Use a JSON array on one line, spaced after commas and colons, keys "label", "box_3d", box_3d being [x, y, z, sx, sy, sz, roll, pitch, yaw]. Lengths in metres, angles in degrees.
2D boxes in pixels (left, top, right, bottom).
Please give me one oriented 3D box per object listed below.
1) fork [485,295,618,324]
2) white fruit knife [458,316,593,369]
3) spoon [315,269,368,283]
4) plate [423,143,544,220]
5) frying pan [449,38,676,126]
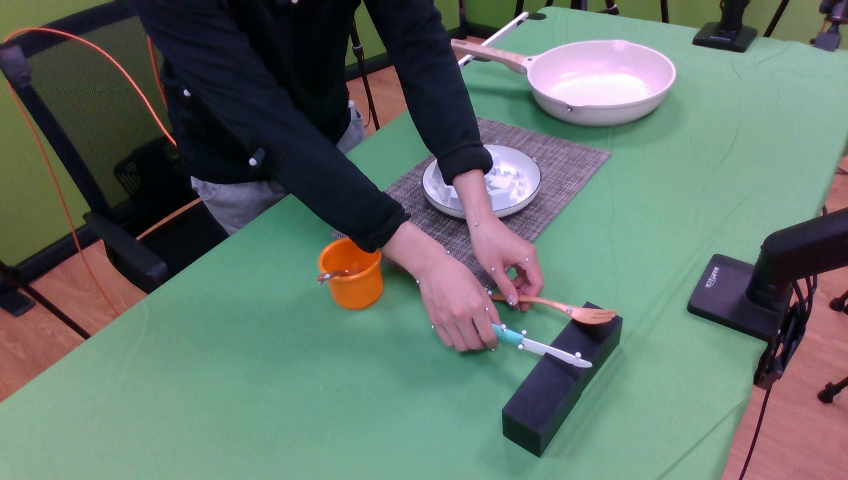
[{"label": "fork", "box_3d": [0.160, 0.088, 0.799, 0.028, 0.018, 0.205, -20, 20, -40]}, {"label": "white fruit knife", "box_3d": [0.120, 0.127, 0.757, 0.205, 0.027, 0.016, 12, 44, 43]}, {"label": "spoon", "box_3d": [-0.116, 0.048, 0.831, 0.041, 0.194, 0.021, -5, 85, 9]}, {"label": "plate", "box_3d": [0.102, -0.097, 1.049, 0.207, 0.039, 0.206, -4, 40, 4]}, {"label": "frying pan", "box_3d": [0.272, -0.363, 1.287, 0.485, 0.103, 0.307, 23, 48, 19]}]
